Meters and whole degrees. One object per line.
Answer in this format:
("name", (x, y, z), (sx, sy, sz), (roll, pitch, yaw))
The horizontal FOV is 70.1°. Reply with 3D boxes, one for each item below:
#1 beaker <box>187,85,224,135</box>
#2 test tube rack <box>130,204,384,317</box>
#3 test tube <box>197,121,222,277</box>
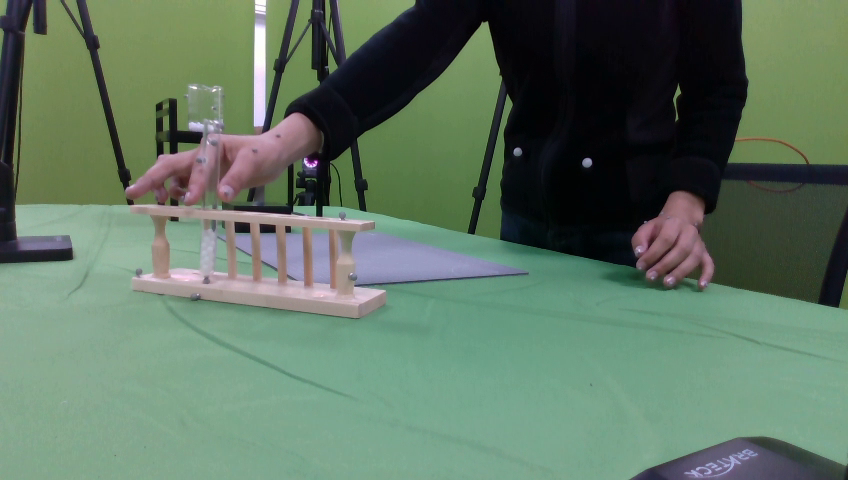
("beaker", (-0.466, -0.276, 1.296), (0.074, 0.100, 0.083), (-3, 10, -35))
("test tube rack", (-0.162, 0.013, 0.589), (0.242, 0.085, 0.067), (5, 8, 17))
("test tube", (-0.206, -0.038, 0.578), (0.017, 0.150, 0.017), (6, 9, -1))
